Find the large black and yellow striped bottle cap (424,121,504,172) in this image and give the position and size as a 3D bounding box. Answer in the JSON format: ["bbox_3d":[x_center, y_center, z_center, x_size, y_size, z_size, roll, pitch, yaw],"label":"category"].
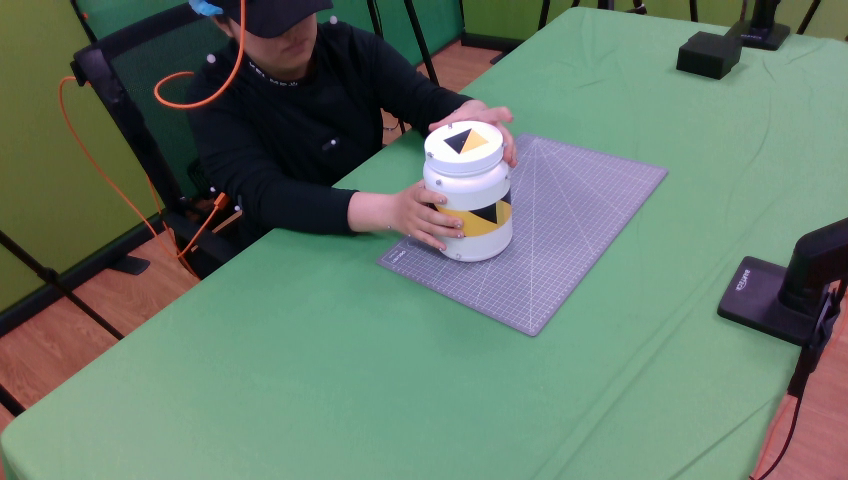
[{"bbox_3d":[0.057,-0.137,0.873,0.115,0.019,0.114,-4,41,4],"label":"large black and yellow striped bottle cap"}]

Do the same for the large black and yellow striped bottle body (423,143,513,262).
[{"bbox_3d":[0.068,-0.073,0.926,0.131,0.185,0.130,-5,40,5],"label":"large black and yellow striped bottle body"}]
